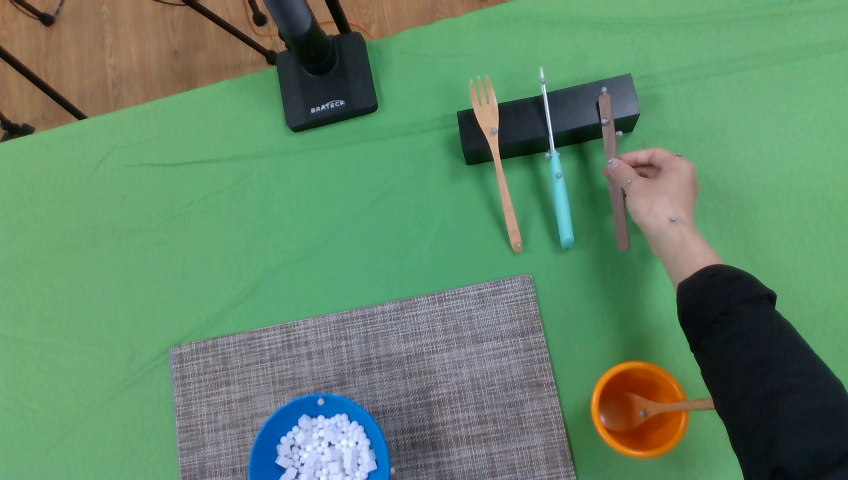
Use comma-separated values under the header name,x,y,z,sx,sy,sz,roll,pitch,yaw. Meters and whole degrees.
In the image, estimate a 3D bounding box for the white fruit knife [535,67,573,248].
name,x,y,z,sx,sy,sz,roll,pitch,yaw
white fruit knife,0.144,-0.092,0.686,0.016,0.027,0.207,-11,93,6

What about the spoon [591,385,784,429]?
name,x,y,z,sx,sy,sz,roll,pitch,yaw
spoon,0.245,0.159,0.584,0.193,0.022,0.041,-25,69,50

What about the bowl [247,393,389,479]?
name,x,y,z,sx,sy,sz,roll,pitch,yaw
bowl,-0.103,0.241,0.653,0.151,0.077,0.150,-2,78,9

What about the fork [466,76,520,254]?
name,x,y,z,sx,sy,sz,roll,pitch,yaw
fork,0.082,-0.084,0.694,0.028,0.018,0.207,-14,96,3

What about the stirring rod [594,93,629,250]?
name,x,y,z,sx,sy,sz,roll,pitch,yaw
stirring rod,0.207,-0.076,0.669,0.014,0.006,0.175,-9,85,27
